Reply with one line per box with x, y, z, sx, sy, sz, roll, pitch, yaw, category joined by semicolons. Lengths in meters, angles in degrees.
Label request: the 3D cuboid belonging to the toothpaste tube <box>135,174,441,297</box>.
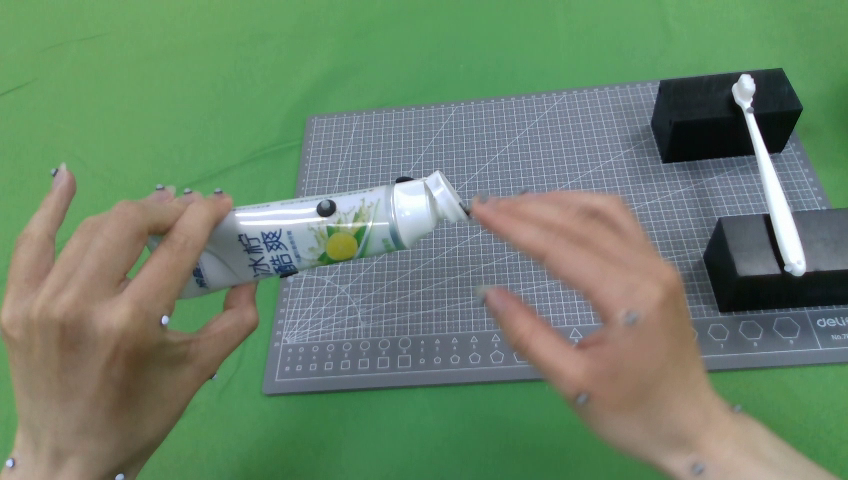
-0.070;-0.005;0.323;0.165;0.055;0.034;-11;25;9;toothpaste tube

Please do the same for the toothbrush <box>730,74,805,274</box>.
0.249;-0.055;0.441;0.014;0.017;0.180;5;57;0;toothbrush

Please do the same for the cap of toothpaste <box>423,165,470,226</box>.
0.012;-0.021;0.310;0.011;0.038;0.037;-32;54;10;cap of toothpaste
